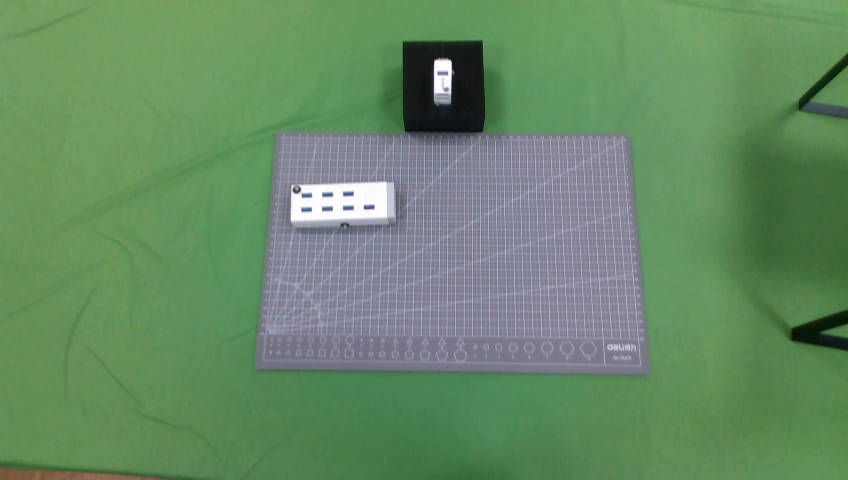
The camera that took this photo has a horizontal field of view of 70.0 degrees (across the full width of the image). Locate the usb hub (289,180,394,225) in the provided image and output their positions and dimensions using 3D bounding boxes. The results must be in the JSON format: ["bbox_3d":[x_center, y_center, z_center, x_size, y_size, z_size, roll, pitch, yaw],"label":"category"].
[{"bbox_3d":[-0.100,-0.046,0.735,0.125,0.025,0.049,-2,73,0],"label":"usb hub"}]

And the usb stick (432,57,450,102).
[{"bbox_3d":[0.021,-0.198,0.729,0.021,0.027,0.059,0,71,3],"label":"usb stick"}]
